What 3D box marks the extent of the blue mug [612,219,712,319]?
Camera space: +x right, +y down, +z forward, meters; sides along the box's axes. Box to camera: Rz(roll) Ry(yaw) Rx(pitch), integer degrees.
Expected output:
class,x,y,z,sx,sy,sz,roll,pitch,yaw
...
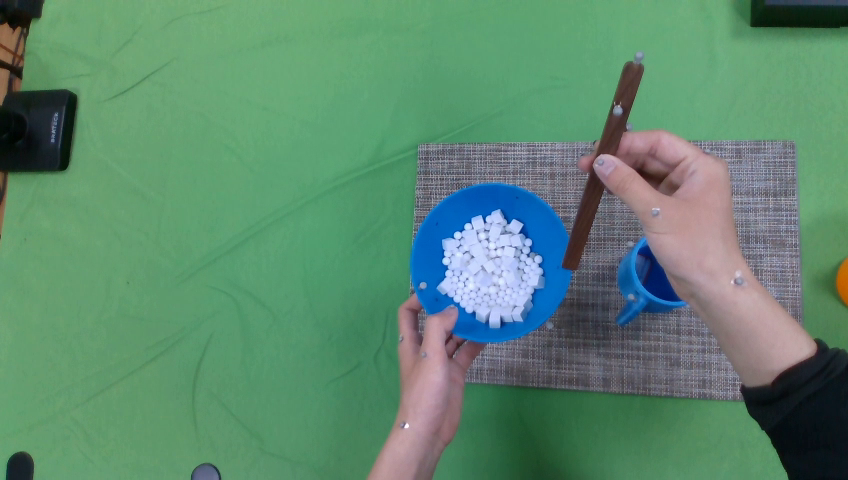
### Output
class,x,y,z,sx,sy,sz,roll,pitch,yaw
blue mug,0.246,0.040,0.661,0.082,0.106,0.116,40,90,14

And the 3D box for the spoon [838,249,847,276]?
class,x,y,z,sx,sy,sz,roll,pitch,yaw
spoon,0.518,0.036,0.598,0.022,0.192,0.041,27,84,-31

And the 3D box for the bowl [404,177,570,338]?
class,x,y,z,sx,sy,sz,roll,pitch,yaw
bowl,0.065,0.022,0.586,0.151,0.077,0.150,-3,77,13

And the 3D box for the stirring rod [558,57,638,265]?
class,x,y,z,sx,sy,sz,roll,pitch,yaw
stirring rod,0.126,-0.050,0.451,0.014,0.005,0.177,8,127,2
